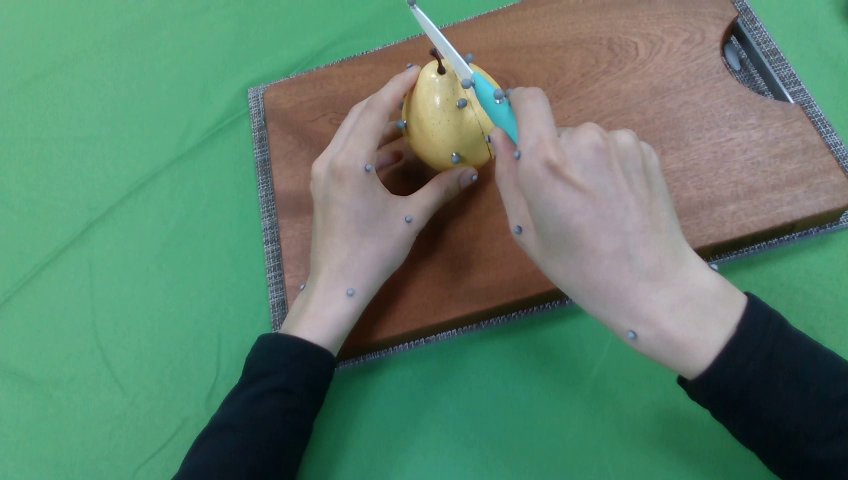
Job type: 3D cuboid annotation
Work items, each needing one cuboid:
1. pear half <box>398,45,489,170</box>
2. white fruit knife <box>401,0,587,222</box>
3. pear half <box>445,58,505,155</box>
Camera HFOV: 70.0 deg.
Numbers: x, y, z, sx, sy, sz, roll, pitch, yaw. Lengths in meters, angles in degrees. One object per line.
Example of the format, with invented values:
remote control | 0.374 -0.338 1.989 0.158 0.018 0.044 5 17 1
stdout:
pear half | 0.006 -0.093 0.430 0.056 0.111 0.075 -31 56 1
white fruit knife | 0.034 -0.093 0.375 0.016 0.027 0.205 -31 64 -7
pear half | 0.041 -0.104 0.439 0.031 0.089 0.069 -30 55 -1
